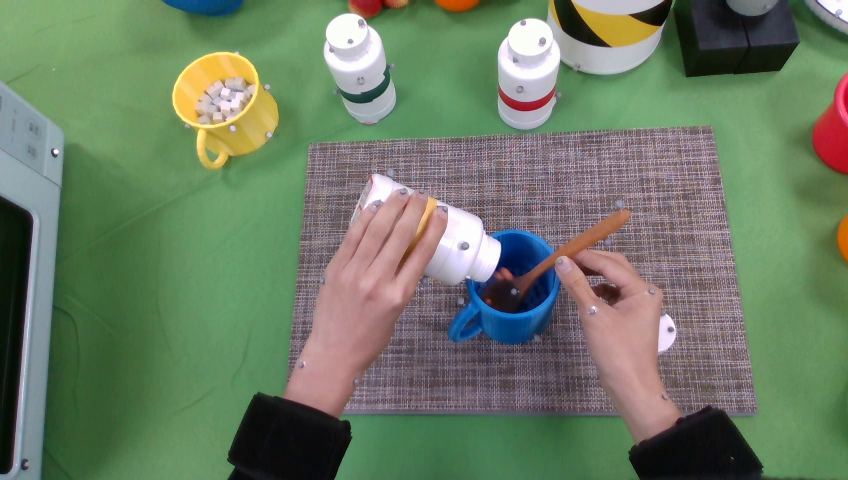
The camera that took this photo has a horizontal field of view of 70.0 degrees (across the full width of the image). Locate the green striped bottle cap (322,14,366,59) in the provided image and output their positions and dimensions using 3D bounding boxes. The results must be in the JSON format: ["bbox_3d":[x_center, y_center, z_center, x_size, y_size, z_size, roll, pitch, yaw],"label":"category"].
[{"bbox_3d":[-0.082,-0.207,0.616,0.044,0.020,0.044,-2,68,6],"label":"green striped bottle cap"}]

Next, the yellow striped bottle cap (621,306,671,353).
[{"bbox_3d":[0.214,0.086,0.585,0.044,0.019,0.044,-2,70,6],"label":"yellow striped bottle cap"}]

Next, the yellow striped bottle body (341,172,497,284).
[{"bbox_3d":[-0.001,-0.005,0.495,0.121,0.063,0.062,22,72,-14],"label":"yellow striped bottle body"}]

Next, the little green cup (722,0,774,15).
[{"bbox_3d":[0.345,-0.269,0.635,0.061,0.039,0.061,-1,68,3],"label":"little green cup"}]

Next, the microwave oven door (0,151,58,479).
[{"bbox_3d":[-0.426,0.062,0.530,0.039,0.245,0.353,-11,69,3],"label":"microwave oven door"}]

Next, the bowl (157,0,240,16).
[{"bbox_3d":[-0.278,-0.339,0.765,0.151,0.077,0.150,-2,70,5],"label":"bowl"}]

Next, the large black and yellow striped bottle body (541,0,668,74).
[{"bbox_3d":[0.194,-0.278,0.633,0.130,0.185,0.130,-2,70,6],"label":"large black and yellow striped bottle body"}]

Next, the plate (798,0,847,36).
[{"bbox_3d":[0.515,-0.305,0.684,0.209,0.038,0.207,-2,70,6],"label":"plate"}]

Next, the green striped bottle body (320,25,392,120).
[{"bbox_3d":[-0.075,-0.189,0.665,0.063,0.120,0.063,-2,70,6],"label":"green striped bottle body"}]

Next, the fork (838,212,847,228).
[{"bbox_3d":[0.460,0.007,0.518,0.028,0.019,0.205,-39,26,-7],"label":"fork"}]

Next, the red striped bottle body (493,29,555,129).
[{"bbox_3d":[0.105,-0.174,0.639,0.063,0.120,0.062,-3,69,8],"label":"red striped bottle body"}]

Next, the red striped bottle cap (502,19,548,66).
[{"bbox_3d":[0.098,-0.193,0.590,0.044,0.018,0.044,-1,68,2],"label":"red striped bottle cap"}]

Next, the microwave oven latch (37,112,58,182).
[{"bbox_3d":[-0.445,-0.106,0.701,0.030,0.030,0.078,-9,70,3],"label":"microwave oven latch"}]

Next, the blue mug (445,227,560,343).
[{"bbox_3d":[0.067,0.055,0.564,0.116,0.106,0.081,-37,69,-8],"label":"blue mug"}]

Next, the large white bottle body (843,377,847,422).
[{"bbox_3d":[0.432,0.125,0.459,0.130,0.186,0.129,-2,69,6],"label":"large white bottle body"}]

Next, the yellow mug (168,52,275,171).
[{"bbox_3d":[-0.235,-0.142,0.695,0.100,0.064,0.130,8,72,9],"label":"yellow mug"}]

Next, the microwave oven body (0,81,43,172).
[{"bbox_3d":[-0.575,0.051,0.556,0.326,0.262,0.438,-10,70,2],"label":"microwave oven body"}]

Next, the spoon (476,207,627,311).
[{"bbox_3d":[0.102,0.024,0.525,0.022,0.194,0.041,3,62,-29],"label":"spoon"}]
